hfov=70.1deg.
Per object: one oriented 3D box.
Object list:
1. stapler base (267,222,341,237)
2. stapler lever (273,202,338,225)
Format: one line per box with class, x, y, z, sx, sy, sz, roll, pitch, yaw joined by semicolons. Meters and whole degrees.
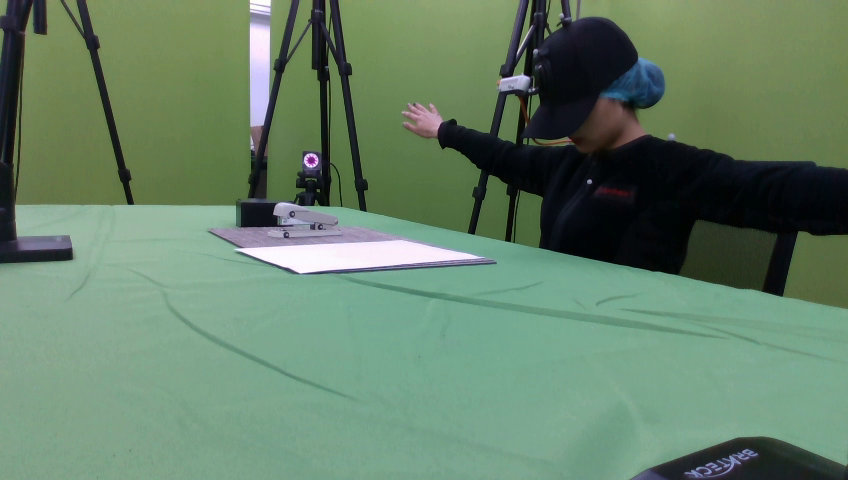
stapler base;-0.208;-0.020;1.057;0.131;0.024;0.041;-2;12;-41
stapler lever;-0.206;-0.045;1.055;0.119;0.040;0.026;-2;12;-41
